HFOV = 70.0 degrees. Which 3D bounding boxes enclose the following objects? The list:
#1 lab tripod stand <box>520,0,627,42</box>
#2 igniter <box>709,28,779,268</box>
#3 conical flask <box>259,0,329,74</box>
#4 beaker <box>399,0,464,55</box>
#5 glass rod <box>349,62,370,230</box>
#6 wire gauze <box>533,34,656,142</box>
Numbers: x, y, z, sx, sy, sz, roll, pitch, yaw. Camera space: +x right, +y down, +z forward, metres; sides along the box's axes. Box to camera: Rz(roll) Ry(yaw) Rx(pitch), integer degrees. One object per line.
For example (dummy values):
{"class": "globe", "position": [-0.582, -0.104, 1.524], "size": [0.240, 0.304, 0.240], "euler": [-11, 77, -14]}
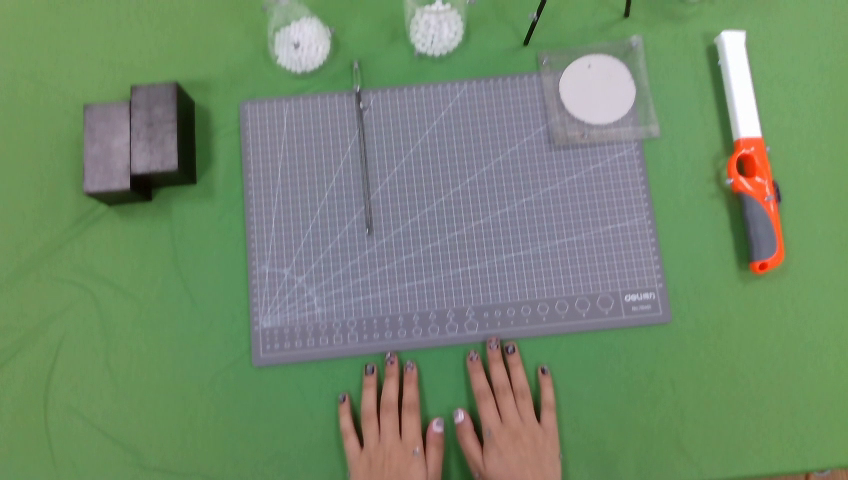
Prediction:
{"class": "lab tripod stand", "position": [0.164, -0.295, 0.656], "size": [0.148, 0.132, 0.148], "euler": [0, 81, 0]}
{"class": "igniter", "position": [0.356, -0.106, 0.675], "size": [0.057, 0.025, 0.275], "euler": [-2, 80, -10]}
{"class": "conical flask", "position": [-0.149, -0.238, 0.653], "size": [0.075, 0.122, 0.075], "euler": [0, 79, 1]}
{"class": "beaker", "position": [0.008, -0.259, 0.668], "size": [0.074, 0.100, 0.083], "euler": [-4, 78, 0]}
{"class": "glass rod", "position": [-0.073, -0.108, 0.683], "size": [0.008, 0.008, 0.199], "euler": [-6, 80, -1]}
{"class": "wire gauze", "position": [0.196, -0.174, 0.695], "size": [0.125, 0.011, 0.121], "euler": [-7, 80, -1]}
